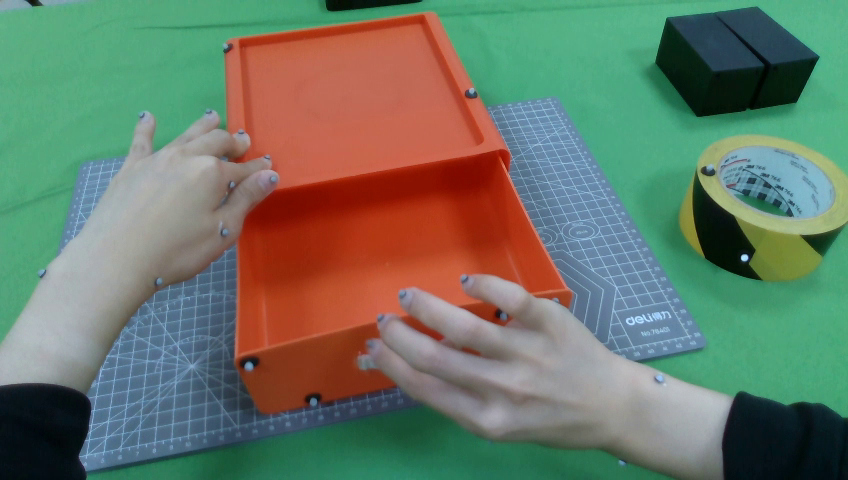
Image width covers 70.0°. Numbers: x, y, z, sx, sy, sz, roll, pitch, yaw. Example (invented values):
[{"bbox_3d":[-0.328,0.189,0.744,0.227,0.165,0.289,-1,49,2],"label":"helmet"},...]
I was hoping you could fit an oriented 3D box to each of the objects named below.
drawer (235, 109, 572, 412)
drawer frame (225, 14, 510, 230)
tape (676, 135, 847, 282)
[{"bbox_3d":[-0.028,-0.003,0.426,0.195,0.074,0.209,-11,49,-7],"label":"drawer"},{"bbox_3d":[-0.058,-0.093,0.509,0.202,0.083,0.211,-12,48,-8],"label":"drawer frame"},{"bbox_3d":[0.257,-0.027,0.465,0.117,0.053,0.115,0,47,0],"label":"tape"}]
